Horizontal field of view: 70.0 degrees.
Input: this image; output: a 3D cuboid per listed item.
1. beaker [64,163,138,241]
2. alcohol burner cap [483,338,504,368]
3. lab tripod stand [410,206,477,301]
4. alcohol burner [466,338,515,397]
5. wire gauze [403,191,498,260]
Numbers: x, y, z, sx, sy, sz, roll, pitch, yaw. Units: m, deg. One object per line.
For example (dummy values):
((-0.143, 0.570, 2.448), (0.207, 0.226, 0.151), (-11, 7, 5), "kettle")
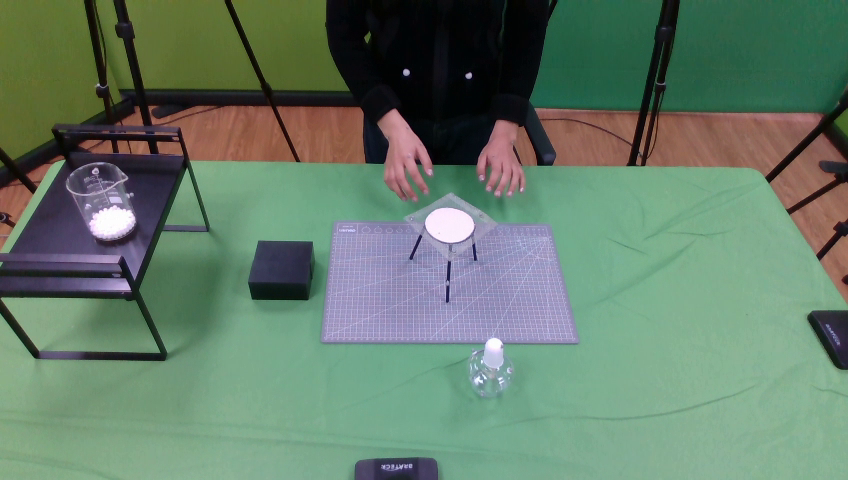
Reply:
((-0.478, -0.055, 0.910), (0.084, 0.101, 0.073), (-9, 48, -13), "beaker")
((0.108, 0.170, 0.928), (0.034, 0.048, 0.033), (0, 41, 0), "alcohol burner cap")
((0.039, 0.015, 1.101), (0.148, 0.132, 0.147), (1, 47, -1), "lab tripod stand")
((0.106, 0.194, 0.952), (0.078, 0.120, 0.077), (1, 46, 0), "alcohol burner")
((0.046, -0.032, 1.053), (0.121, 0.011, 0.124), (-32, 55, -29), "wire gauze")
